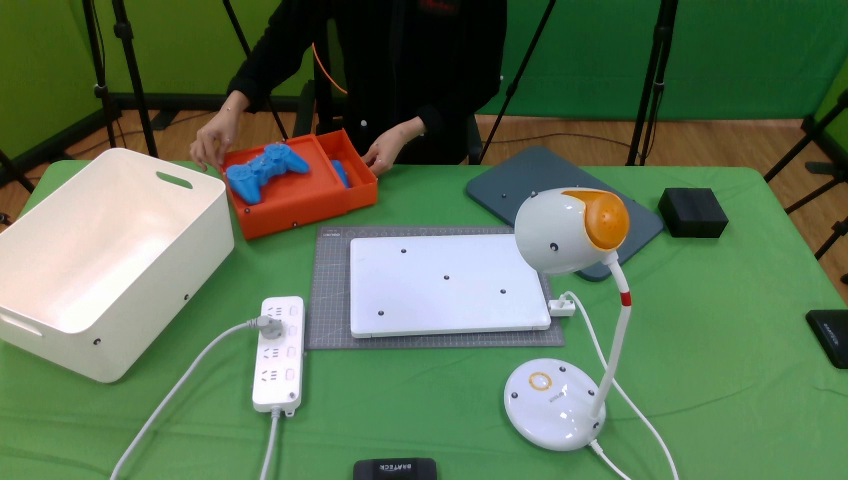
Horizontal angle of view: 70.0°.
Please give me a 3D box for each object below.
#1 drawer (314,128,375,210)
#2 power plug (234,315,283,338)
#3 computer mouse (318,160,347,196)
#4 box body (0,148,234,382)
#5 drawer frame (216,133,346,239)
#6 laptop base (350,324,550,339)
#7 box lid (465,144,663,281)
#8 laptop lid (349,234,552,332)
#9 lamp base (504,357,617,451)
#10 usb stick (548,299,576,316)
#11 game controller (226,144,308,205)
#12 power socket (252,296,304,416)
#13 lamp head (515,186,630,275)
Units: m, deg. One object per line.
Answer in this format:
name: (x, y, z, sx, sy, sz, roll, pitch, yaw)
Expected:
drawer: (-0.234, -0.133, 1.269, 0.212, 0.073, 0.193, -19, 51, -20)
power plug: (-0.270, 0.143, 1.000, 0.072, 0.053, 0.035, 5, 47, 2)
computer mouse: (-0.202, -0.129, 1.287, 0.063, 0.041, 0.116, -11, 51, -17)
box body: (-0.525, 0.033, 1.027, 0.254, 0.161, 0.362, 18, 47, 13)
drawer frame: (-0.291, -0.116, 1.244, 0.214, 0.083, 0.200, -17, 51, -20)
laptop base: (0.039, 0.081, 1.124, 0.355, 0.023, 0.234, -2, 43, -6)
box lid: (0.297, -0.072, 1.298, 0.263, 0.015, 0.369, -33, 56, -31)
laptop lid: (0.040, 0.071, 1.117, 0.357, 0.013, 0.240, 0, 44, -5)
lamp base: (0.220, 0.211, 0.903, 0.160, 0.181, 0.178, -32, 59, -30)
usb stick: (0.239, 0.121, 1.083, 0.059, 0.027, 0.021, -1, 50, -2)
game controller: (-0.314, -0.139, 1.194, 0.096, 0.052, 0.155, 30, 50, 27)
power socket: (-0.238, 0.182, 0.997, 0.072, 0.033, 0.225, -3, 47, -5)
lamp head: (0.188, -0.013, 0.728, 0.112, 0.112, 0.122, -25, 9, -25)
